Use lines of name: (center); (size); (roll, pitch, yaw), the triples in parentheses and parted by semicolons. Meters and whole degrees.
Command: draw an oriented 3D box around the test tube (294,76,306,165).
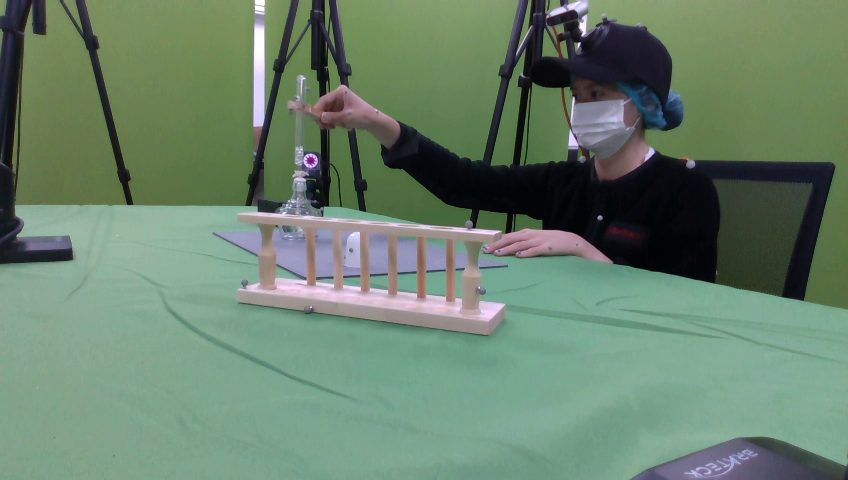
test tube: (-0.207, -0.199, 1.008); (0.017, 0.150, 0.017); (2, -1, 0)

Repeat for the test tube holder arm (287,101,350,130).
test tube holder arm: (-0.182, -0.219, 1.073); (0.013, 0.015, 0.179); (5, 0, 24)

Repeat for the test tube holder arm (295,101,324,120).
test tube holder arm: (-0.194, -0.220, 1.029); (0.010, 0.015, 0.088); (4, 0, 17)

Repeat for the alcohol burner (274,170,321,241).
alcohol burner: (-0.212, -0.058, 1.015); (0.078, 0.119, 0.078); (4, 5, 0)

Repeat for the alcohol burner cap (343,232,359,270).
alcohol burner cap: (-0.087, 0.013, 0.776); (0.034, 0.048, 0.034); (3, 7, 0)

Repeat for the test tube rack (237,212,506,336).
test tube rack: (-0.049, 0.024, 0.552); (0.242, 0.085, 0.067); (5, 8, 18)
